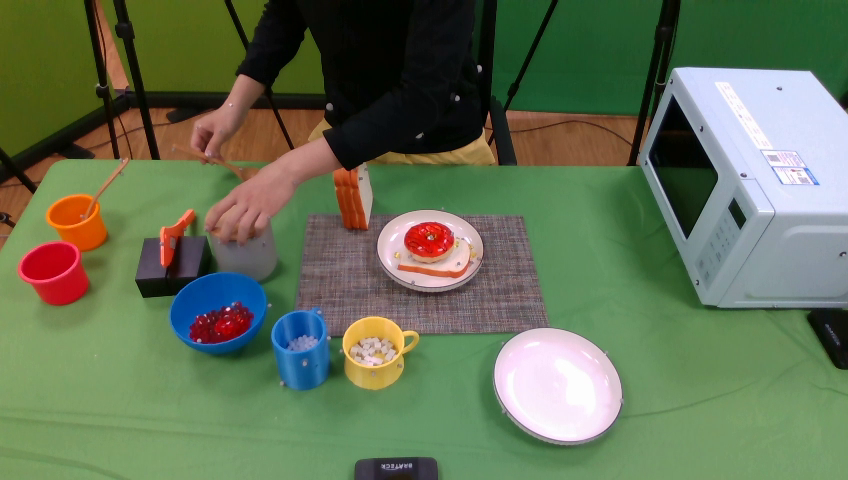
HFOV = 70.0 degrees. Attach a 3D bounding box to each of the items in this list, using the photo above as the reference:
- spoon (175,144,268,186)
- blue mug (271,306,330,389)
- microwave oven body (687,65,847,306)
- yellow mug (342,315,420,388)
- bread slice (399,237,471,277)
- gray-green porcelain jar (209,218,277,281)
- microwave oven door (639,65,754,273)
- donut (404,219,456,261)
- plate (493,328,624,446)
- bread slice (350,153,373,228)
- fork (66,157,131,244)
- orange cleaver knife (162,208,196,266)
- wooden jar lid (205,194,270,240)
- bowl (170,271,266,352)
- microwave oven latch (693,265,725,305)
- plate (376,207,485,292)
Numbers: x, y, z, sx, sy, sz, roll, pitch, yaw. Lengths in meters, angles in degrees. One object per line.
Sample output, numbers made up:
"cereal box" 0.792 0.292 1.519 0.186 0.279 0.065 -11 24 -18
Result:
"spoon" -0.415 -0.159 1.249 0.195 0.021 0.041 23 75 -34
"blue mug" -0.188 0.163 0.969 0.082 0.106 0.116 15 47 10
"microwave oven body" 0.669 -0.111 1.176 0.326 0.261 0.439 0 46 -3
"yellow mug" -0.068 0.177 0.990 0.131 0.064 0.099 -15 50 -19
"bread slice" 0.025 0.025 1.161 0.131 0.019 0.104 6 47 8
"gray-green porcelain jar" -0.323 0.007 1.092 0.106 0.127 0.105 2 46 -2
"microwave oven door" 0.522 -0.147 1.192 0.039 0.245 0.353 0 47 -3
"donut" 0.012 -0.001 1.140 0.099 0.048 0.098 0 44 0
"plate" 0.213 0.236 0.974 0.208 0.039 0.206 2 46 -2
"bread slice" -0.124 -0.104 1.207 0.018 0.135 0.106 -1 48 7
"fork" -0.608 -0.074 1.132 0.207 0.019 0.028 -52 48 10
"orange cleaver knife" -0.454 -0.010 1.129 0.012 0.077 0.210 -1 17 -6
"wooden jar lid" -0.320 -0.037 1.046 0.108 0.021 0.107 1 45 -1
"bowl" -0.334 0.132 1.006 0.151 0.077 0.150 2 46 -2
"microwave oven latch" 0.522 0.081 1.115 0.030 0.029 0.078 2 46 -1
"plate" 0.012 0.021 1.159 0.209 0.038 0.208 2 47 -2
